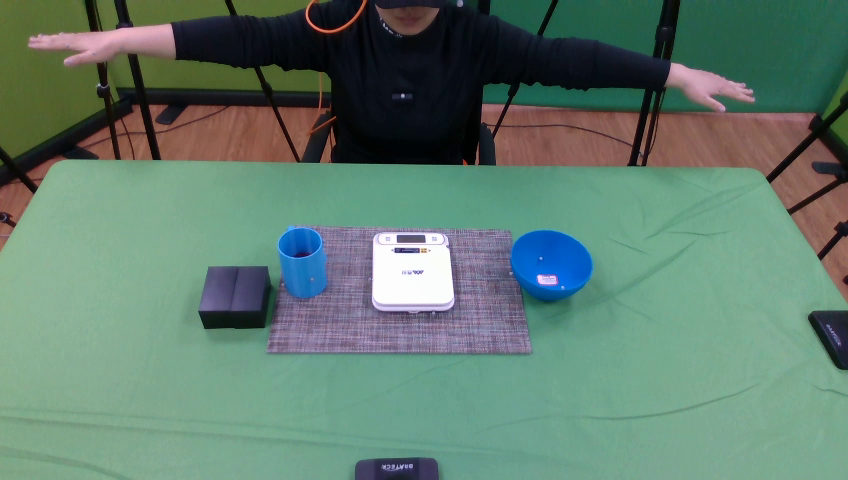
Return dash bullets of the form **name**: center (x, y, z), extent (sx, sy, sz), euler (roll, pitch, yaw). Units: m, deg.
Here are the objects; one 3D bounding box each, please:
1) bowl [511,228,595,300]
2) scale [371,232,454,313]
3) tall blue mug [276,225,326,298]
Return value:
- **bowl**: center (0.230, 0.058, 1.118), extent (0.151, 0.077, 0.150), euler (2, 46, -2)
- **scale**: center (-0.023, 0.051, 1.134), extent (0.149, 0.032, 0.199), euler (1, 46, -4)
- **tall blue mug**: center (-0.228, 0.033, 1.083), extent (0.107, 0.108, 0.077), euler (30, 52, 23)
